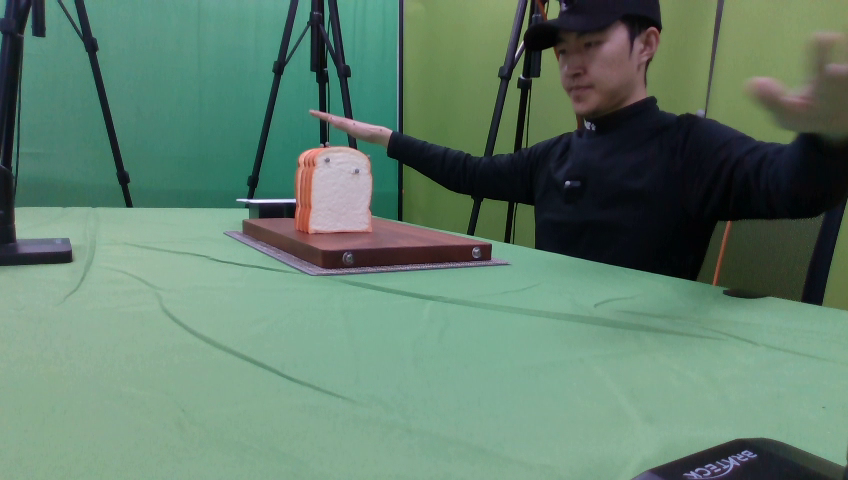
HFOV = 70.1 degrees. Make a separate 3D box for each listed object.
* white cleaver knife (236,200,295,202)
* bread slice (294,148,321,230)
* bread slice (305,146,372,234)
[{"bbox_3d":[-0.263,-0.087,1.300,0.065,0.021,0.288,9,8,42],"label":"white cleaver knife"},{"bbox_3d":[-0.158,-0.081,0.970,0.105,0.131,0.019,-1,2,-33],"label":"bread slice"},{"bbox_3d":[-0.131,-0.076,0.924,0.107,0.134,0.018,-5,10,-32],"label":"bread slice"}]
